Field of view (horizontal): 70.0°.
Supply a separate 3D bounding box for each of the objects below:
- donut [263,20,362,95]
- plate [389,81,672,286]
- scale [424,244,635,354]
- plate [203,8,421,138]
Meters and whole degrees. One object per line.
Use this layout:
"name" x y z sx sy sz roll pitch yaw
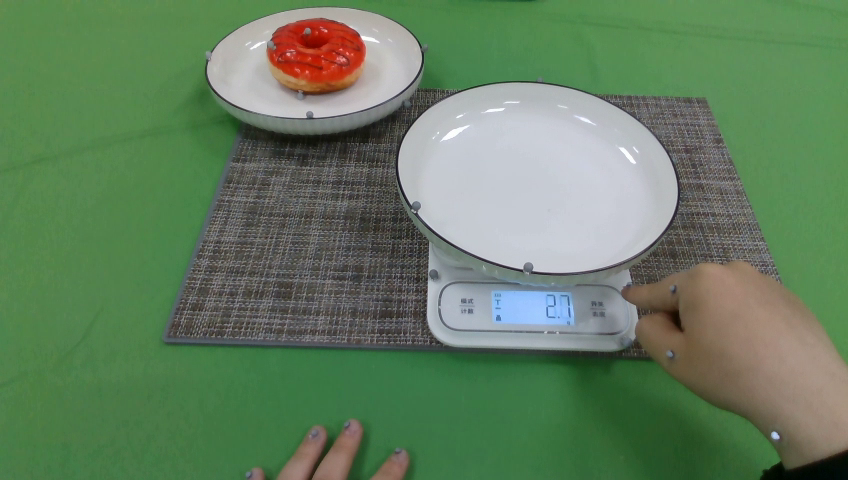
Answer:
"donut" -0.109 -0.179 0.599 0.099 0.048 0.098 2 47 -1
"plate" 0.077 -0.045 0.462 0.208 0.039 0.205 1 50 -1
"scale" 0.077 -0.006 0.472 0.149 0.032 0.199 2 50 1
"plate" -0.108 -0.164 0.599 0.209 0.038 0.207 0 48 0
